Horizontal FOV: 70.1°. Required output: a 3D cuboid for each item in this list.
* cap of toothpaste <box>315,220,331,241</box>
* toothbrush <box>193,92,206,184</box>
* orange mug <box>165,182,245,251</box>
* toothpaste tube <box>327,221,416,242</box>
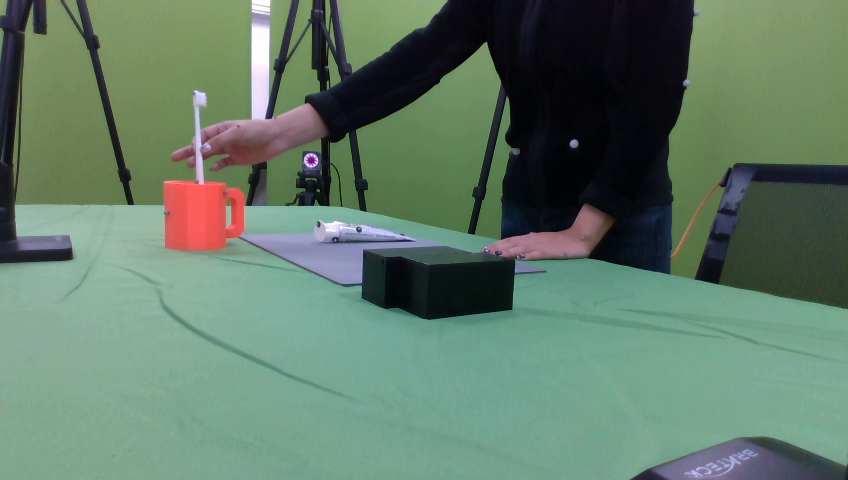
[{"bbox_3d":[-0.164,-0.015,0.982,0.011,0.037,0.037,-9,12,-44],"label":"cap of toothpaste"},{"bbox_3d":[-0.333,-0.131,0.905,0.014,0.181,0.017,-4,-2,39],"label":"toothbrush"},{"bbox_3d":[-0.326,-0.040,0.911,0.083,0.101,0.127,8,14,37],"label":"orange mug"},{"bbox_3d":[-0.095,-0.012,1.026,0.166,0.034,0.055,2,13,-33],"label":"toothpaste tube"}]
